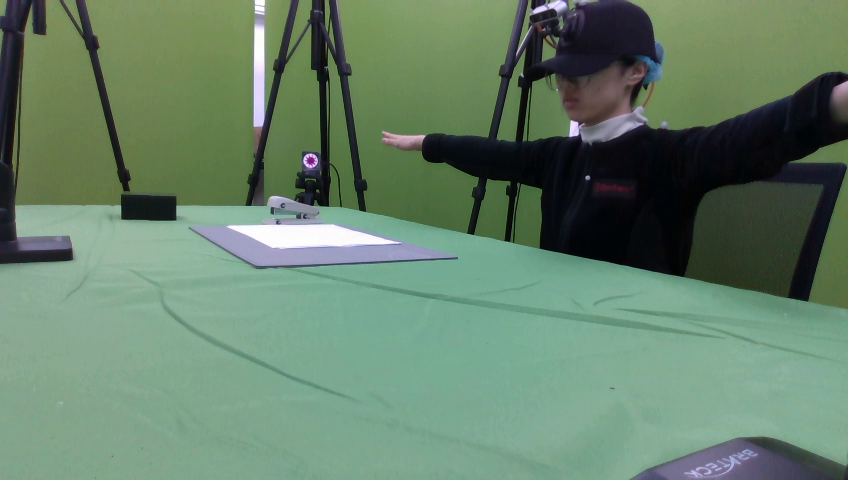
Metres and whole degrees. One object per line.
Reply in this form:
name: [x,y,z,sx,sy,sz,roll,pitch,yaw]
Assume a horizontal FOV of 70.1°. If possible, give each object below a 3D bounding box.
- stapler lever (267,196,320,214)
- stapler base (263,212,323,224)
stapler lever: [-0.275,-0.073,1.277,0.026,0.040,0.119,12,10,43]
stapler base: [-0.277,-0.048,1.279,0.041,0.024,0.131,12,10,43]
